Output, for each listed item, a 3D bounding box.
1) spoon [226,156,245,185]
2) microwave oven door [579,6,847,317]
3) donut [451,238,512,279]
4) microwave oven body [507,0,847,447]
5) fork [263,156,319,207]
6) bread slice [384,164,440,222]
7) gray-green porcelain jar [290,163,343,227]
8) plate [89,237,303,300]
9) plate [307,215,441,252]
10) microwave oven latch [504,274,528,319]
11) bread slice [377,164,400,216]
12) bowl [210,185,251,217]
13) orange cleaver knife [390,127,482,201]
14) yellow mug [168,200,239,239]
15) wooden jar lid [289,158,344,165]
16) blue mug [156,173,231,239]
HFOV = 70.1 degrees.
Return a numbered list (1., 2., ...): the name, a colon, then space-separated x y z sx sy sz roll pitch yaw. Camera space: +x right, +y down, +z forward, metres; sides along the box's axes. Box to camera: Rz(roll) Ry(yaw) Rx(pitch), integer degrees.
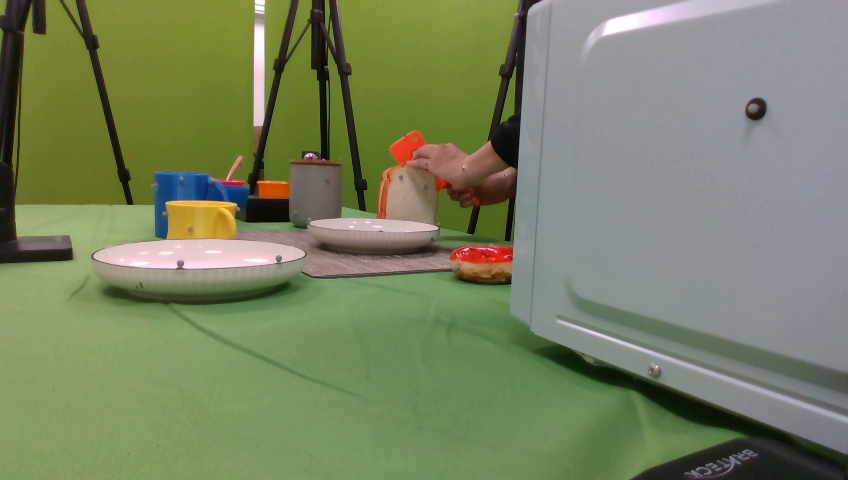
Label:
1. spoon: -0.477 -0.145 1.492 0.041 0.022 0.193 0 51 12
2. microwave oven door: 0.294 -0.067 0.570 0.358 0.243 0.039 -3 9 -31
3. donut: 0.082 0.022 0.745 0.099 0.048 0.099 1 5 0
4. microwave oven body: 0.331 -0.042 0.425 0.444 0.260 0.324 -2 8 -31
5. fork: -0.331 -0.144 1.505 0.207 0.018 0.028 -42 -21 22
6. bread slice: -0.025 -0.074 1.119 0.107 0.134 0.018 -1 8 -19
7. gray-green porcelain jar: -0.217 -0.091 1.221 0.106 0.126 0.106 2 7 0
8. plate: -0.233 0.029 0.637 0.208 0.039 0.207 2 7 0
9. plate: -0.078 -0.012 0.954 0.209 0.038 0.209 2 8 0
10. microwave oven latch: 0.100 0.041 0.471 0.079 0.029 0.030 -1 7 -27
11. bread slice: -0.038 -0.081 1.167 0.105 0.131 0.019 5 -1 -21
12. bowl: -0.408 -0.064 1.155 0.151 0.077 0.151 2 8 0
13. orange cleaver knife: 0.026 -0.132 1.176 0.212 0.077 0.012 41 -8 -19
14. yellow mug: -0.319 -0.023 0.904 0.130 0.064 0.100 9 11 36
15. wooden jar lid: -0.215 -0.153 1.212 0.108 0.020 0.108 2 5 0
16. blue mug: -0.381 -0.057 1.004 0.117 0.106 0.082 1 8 -12
